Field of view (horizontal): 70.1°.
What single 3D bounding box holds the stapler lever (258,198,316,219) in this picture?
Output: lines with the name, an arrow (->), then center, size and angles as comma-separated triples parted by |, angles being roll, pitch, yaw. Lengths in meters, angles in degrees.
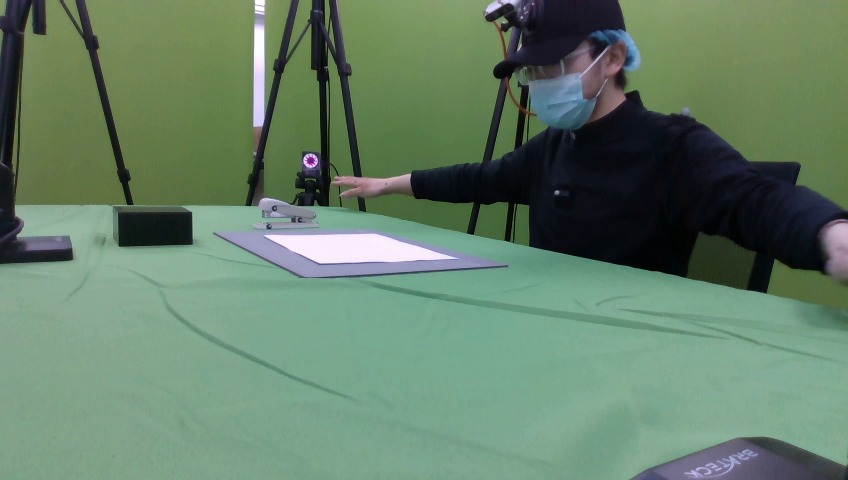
stapler lever -> -0.271, -0.062, 1.201 | 0.119, 0.040, 0.026 | -1, 11, -40

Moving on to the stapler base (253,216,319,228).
stapler base -> -0.274, -0.037, 1.203 | 0.131, 0.024, 0.041 | -1, 11, -40
